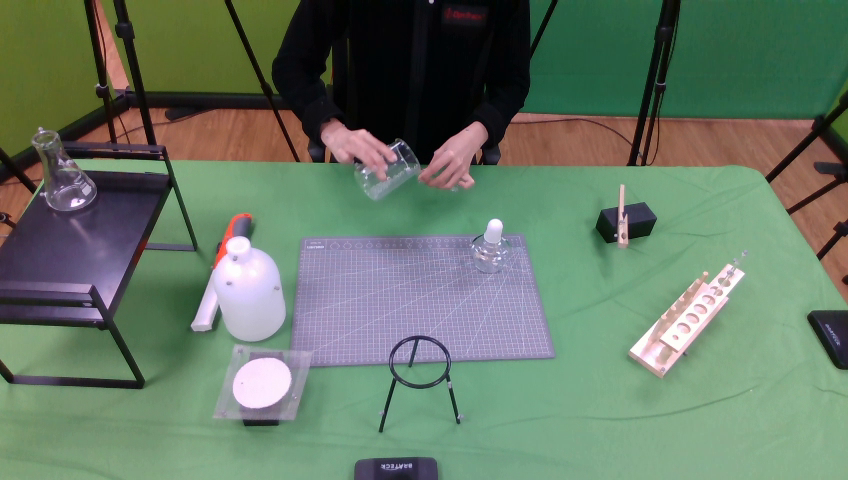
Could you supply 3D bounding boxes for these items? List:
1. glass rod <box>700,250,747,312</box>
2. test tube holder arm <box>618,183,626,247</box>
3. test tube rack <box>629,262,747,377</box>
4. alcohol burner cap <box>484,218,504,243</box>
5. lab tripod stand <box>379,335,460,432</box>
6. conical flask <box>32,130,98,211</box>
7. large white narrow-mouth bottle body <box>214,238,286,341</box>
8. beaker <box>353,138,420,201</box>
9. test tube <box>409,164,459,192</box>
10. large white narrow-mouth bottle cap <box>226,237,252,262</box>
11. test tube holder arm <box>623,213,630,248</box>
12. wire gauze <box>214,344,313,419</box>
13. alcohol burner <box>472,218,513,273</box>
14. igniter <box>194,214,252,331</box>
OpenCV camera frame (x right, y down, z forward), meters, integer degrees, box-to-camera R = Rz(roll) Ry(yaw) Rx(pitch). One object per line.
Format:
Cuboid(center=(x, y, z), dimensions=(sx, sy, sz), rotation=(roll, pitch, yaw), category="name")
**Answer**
Cuboid(center=(0.500, 0.075, 1.021), dimensions=(0.008, 0.201, 0.008), rotation=(0, 54, 1), category="glass rod")
Cuboid(center=(0.395, -0.053, 1.210), dimensions=(0.013, 0.015, 0.177), rotation=(15, 47, -1), category="test tube holder arm")
Cuboid(center=(0.464, 0.126, 1.060), dimensions=(0.242, 0.085, 0.066), rotation=(-34, 56, -31), category="test tube rack")
Cuboid(center=(0.130, -0.021, 1.106), dimensions=(0.034, 0.048, 0.033), rotation=(3, 51, -4), category="alcohol burner cap")
Cuboid(center=(-0.010, 0.214, 0.911), dimensions=(0.148, 0.132, 0.147), rotation=(1, 45, 0), category="lab tripod stand")
Cuboid(center=(-0.565, -0.110, 0.944), dimensions=(0.075, 0.122, 0.075), rotation=(2, 46, -2), category="conical flask")
Cuboid(center=(-0.285, 0.073, 0.986), dimensions=(0.102, 0.195, 0.101), rotation=(2, 46, -2), category="large white narrow-mouth bottle body")
Cuboid(center=(-0.068, -0.122, 1.080), dimensions=(0.100, 0.084, 0.073), rotation=(-36, 60, -11), category="beaker")
Cuboid(center=(0.023, -0.119, 1.177), dimensions=(0.151, 0.017, 0.017), rotation=(18, 26, -51), category="test tube")
Cuboid(center=(-0.282, 0.014, 0.923), dimensions=(0.038, 0.024, 0.037), rotation=(2, 46, -2), category="large white narrow-mouth bottle cap")
Cuboid(center=(0.392, -0.020, 1.180), dimensions=(0.010, 0.015, 0.087), rotation=(15, 47, -1), category="test tube holder arm")
Cuboid(center=(-0.241, 0.213, 0.916), dimensions=(0.121, 0.011, 0.124), rotation=(5, 46, 1), category="wire gauze")
Cuboid(center=(0.128, 0.005, 1.132), dimensions=(0.078, 0.120, 0.077), rotation=(0, 47, 0), category="alcohol burner")
Cuboid(center=(-0.367, 0.050, 1.119), dimensions=(0.057, 0.025, 0.275), rotation=(-4, 46, 7), category="igniter")
